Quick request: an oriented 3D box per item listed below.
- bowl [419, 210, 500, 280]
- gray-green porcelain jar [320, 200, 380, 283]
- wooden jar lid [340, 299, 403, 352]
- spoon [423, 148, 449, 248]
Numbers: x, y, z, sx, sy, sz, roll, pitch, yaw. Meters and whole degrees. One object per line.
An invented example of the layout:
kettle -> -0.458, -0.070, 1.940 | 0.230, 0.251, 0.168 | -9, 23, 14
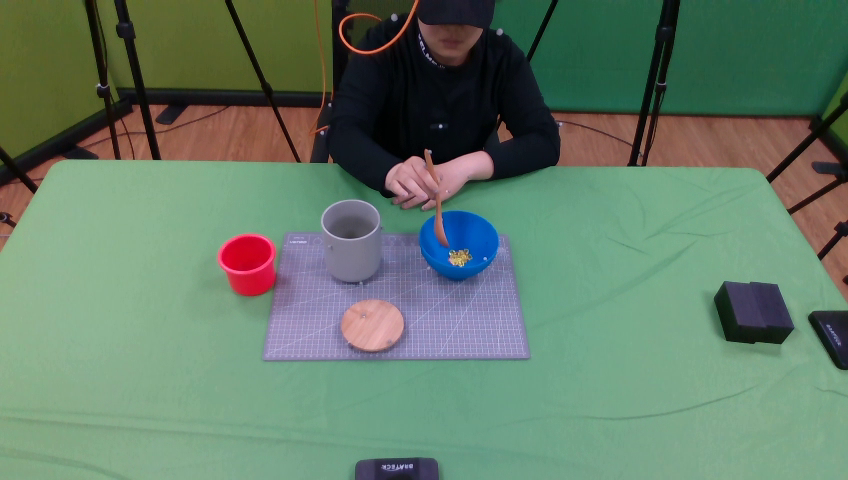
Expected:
bowl -> 0.062, 0.022, 1.140 | 0.151, 0.077, 0.150 | 2, 45, -2
gray-green porcelain jar -> -0.132, 0.007, 1.106 | 0.106, 0.127, 0.105 | 2, 46, -2
wooden jar lid -> -0.090, 0.150, 1.046 | 0.108, 0.021, 0.107 | 3, 47, -3
spoon -> 0.021, -0.071, 1.072 | 0.021, 0.194, 0.041 | -17, 26, -18
